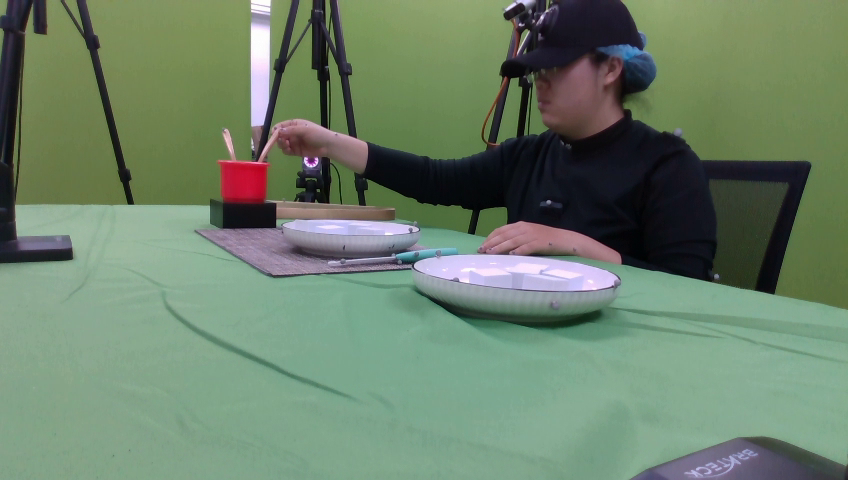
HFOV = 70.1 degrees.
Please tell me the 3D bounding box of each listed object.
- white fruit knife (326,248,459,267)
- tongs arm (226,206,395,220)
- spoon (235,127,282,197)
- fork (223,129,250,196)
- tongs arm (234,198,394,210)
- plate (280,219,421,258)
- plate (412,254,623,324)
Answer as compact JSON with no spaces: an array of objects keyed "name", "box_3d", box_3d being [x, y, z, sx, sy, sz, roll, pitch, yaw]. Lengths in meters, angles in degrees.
[{"name":"white fruit knife","box_3d":[-0.034,0.025,0.807,0.208,0.016,0.027,-4,-19,-34]},{"name":"tongs arm","box_3d":[-0.248,-0.061,1.381,0.389,0.028,0.028,0,6,-21]},{"name":"spoon","box_3d":[-0.318,-0.156,1.189,0.041,0.193,0.022,7,-32,16]},{"name":"fork","box_3d":[-0.373,-0.156,1.191,0.028,0.018,0.206,-20,55,-10]},{"name":"tongs arm","box_3d":[-0.263,-0.076,1.460,0.386,0.026,0.050,3,8,-8]},{"name":"plate","box_3d":[-0.108,-0.002,0.902,0.208,0.039,0.207,3,7,0]},{"name":"plate","box_3d":[0.091,0.047,0.609,0.209,0.038,0.209,2,7,0]}]
